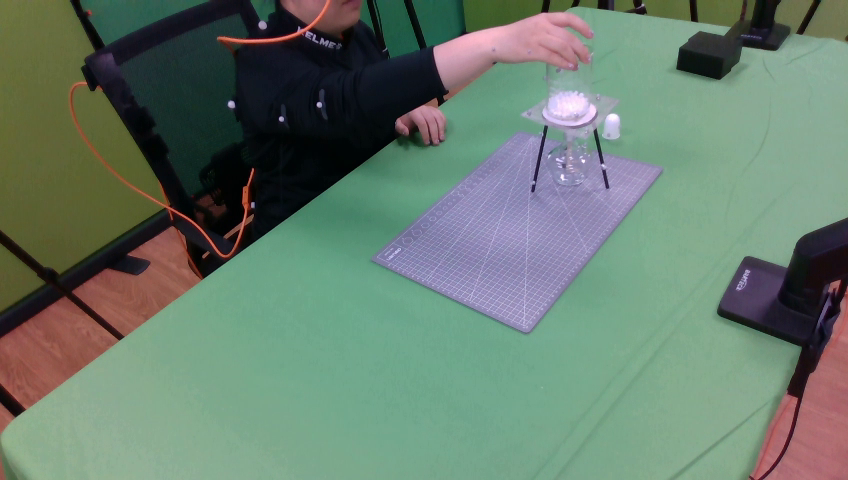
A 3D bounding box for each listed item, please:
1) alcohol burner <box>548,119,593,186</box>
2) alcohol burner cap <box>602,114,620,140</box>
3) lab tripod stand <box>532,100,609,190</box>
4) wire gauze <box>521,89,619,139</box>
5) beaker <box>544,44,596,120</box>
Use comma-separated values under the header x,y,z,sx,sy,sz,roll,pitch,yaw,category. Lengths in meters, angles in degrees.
x,y,z,sx,sy,sz,roll,pitch,yaw,category
0.252,-0.154,1.042,0.078,0.120,0.077,-7,40,7,alcohol burner
0.359,-0.217,1.157,0.034,0.048,0.033,-6,39,6,alcohol burner cap
0.251,-0.161,1.034,0.148,0.132,0.147,-4,39,4,lab tripod stand
0.240,-0.213,0.994,0.124,0.011,0.122,24,49,32,wire gauze
0.227,-0.250,0.960,0.083,0.101,0.074,24,48,35,beaker
